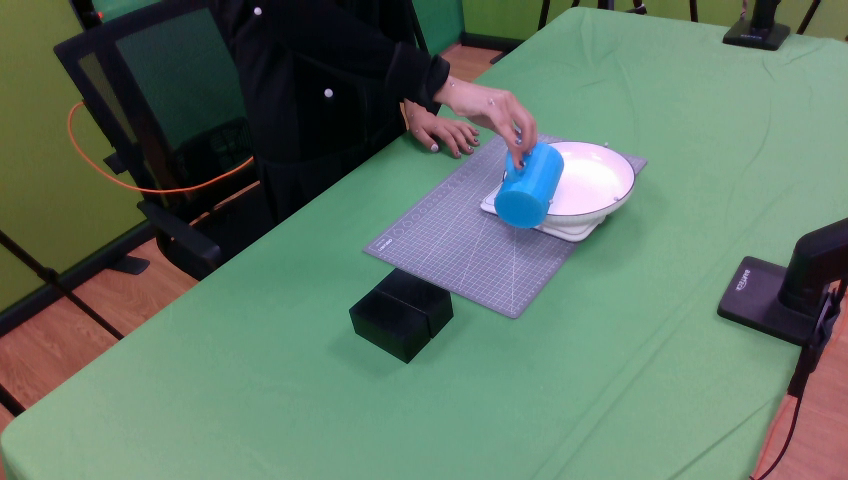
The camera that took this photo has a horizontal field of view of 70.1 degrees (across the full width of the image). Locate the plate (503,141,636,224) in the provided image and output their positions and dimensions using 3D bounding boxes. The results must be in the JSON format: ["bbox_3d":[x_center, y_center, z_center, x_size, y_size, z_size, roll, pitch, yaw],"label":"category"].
[{"bbox_3d":[0.234,-0.091,0.983,0.209,0.038,0.208,-5,41,5],"label":"plate"}]

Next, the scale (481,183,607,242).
[{"bbox_3d":[0.211,-0.070,1.014,0.199,0.032,0.149,23,49,33],"label":"scale"}]

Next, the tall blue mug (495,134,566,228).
[{"bbox_3d":[0.156,-0.091,0.867,0.077,0.107,0.108,18,52,13],"label":"tall blue mug"}]
